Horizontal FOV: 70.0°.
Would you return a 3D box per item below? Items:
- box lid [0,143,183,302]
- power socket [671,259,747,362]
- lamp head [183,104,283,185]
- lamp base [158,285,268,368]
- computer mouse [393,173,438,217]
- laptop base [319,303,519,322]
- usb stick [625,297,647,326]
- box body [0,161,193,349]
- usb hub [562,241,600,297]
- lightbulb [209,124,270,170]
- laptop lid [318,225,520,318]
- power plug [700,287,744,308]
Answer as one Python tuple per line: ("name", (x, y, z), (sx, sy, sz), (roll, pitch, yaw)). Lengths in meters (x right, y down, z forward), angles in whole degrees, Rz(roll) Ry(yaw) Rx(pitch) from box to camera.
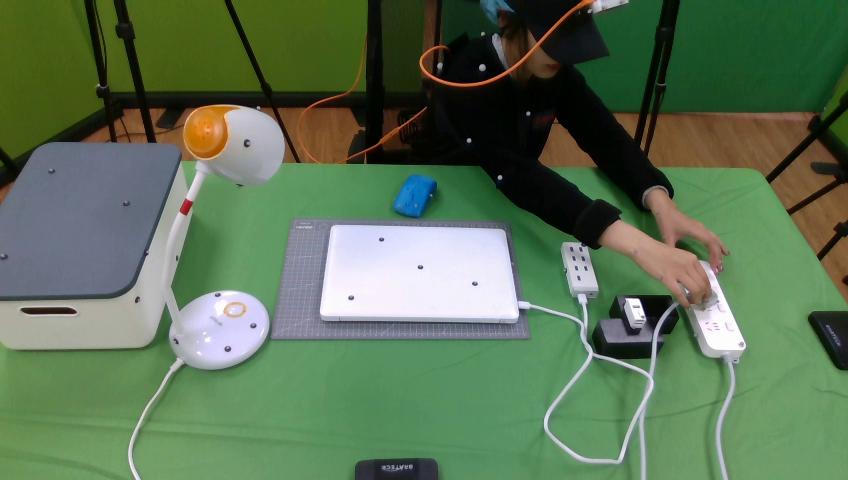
("box lid", (-0.567, -0.045, 0.999), (0.263, 0.015, 0.369), (-1, 46, -4))
("power socket", (0.517, 0.119, 1.108), (0.072, 0.033, 0.225), (1, 46, -1))
("lamp head", (-0.271, -0.133, 0.825), (0.112, 0.112, 0.123), (20, 8, 15))
("lamp base", (-0.347, 0.102, 0.963), (0.160, 0.181, 0.178), (23, 51, 18))
("computer mouse", (-0.017, -0.098, 1.282), (0.062, 0.041, 0.117), (20, 52, 13))
("laptop base", (-0.009, 0.063, 1.137), (0.354, 0.023, 0.234), (1, 42, -3))
("usb stick", (0.360, 0.117, 1.034), (0.021, 0.027, 0.059), (-2, 43, -3))
("box body", (-0.570, 0.006, 1.054), (0.254, 0.161, 0.361), (-1, 46, -4))
("usb hub", (0.300, 0.055, 1.162), (0.049, 0.025, 0.124), (3, 46, -4))
("lightbulb", (-0.260, -0.135, 0.847), (0.059, 0.108, 0.059), (-4, 79, 19))
("laptop lid", (-0.008, 0.053, 1.130), (0.357, 0.013, 0.240), (2, 43, -2))
("power plug", (0.518, 0.110, 1.060), (0.035, 0.053, 0.072), (-38, 47, -3))
